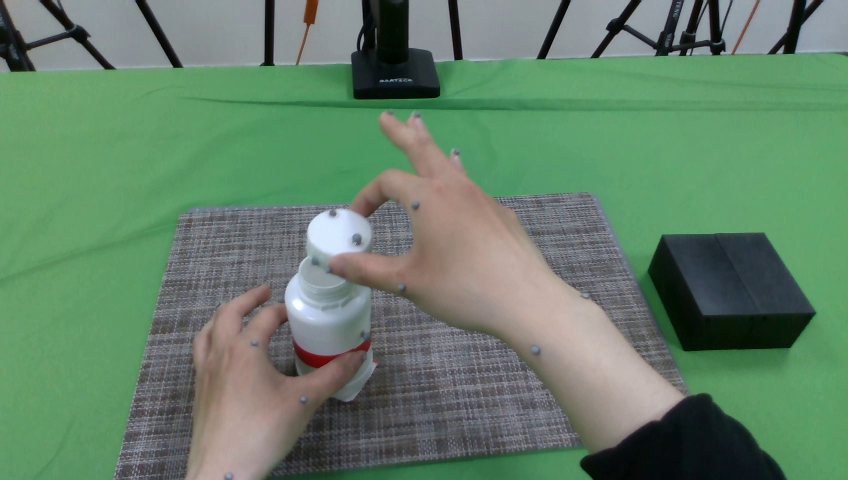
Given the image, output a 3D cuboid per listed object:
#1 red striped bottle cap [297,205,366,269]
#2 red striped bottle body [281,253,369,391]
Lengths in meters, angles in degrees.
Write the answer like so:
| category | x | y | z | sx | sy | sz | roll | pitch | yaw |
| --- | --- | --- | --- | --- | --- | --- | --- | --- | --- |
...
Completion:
| category | x | y | z | sx | sy | sz | roll | pitch | yaw |
| --- | --- | --- | --- | --- | --- | --- | --- | --- | --- |
| red striped bottle cap | -0.061 | -0.003 | 0.402 | 0.045 | 0.018 | 0.044 | 11 | 44 | -11 |
| red striped bottle body | -0.075 | 0.059 | 0.468 | 0.063 | 0.121 | 0.062 | 2 | 44 | -2 |
